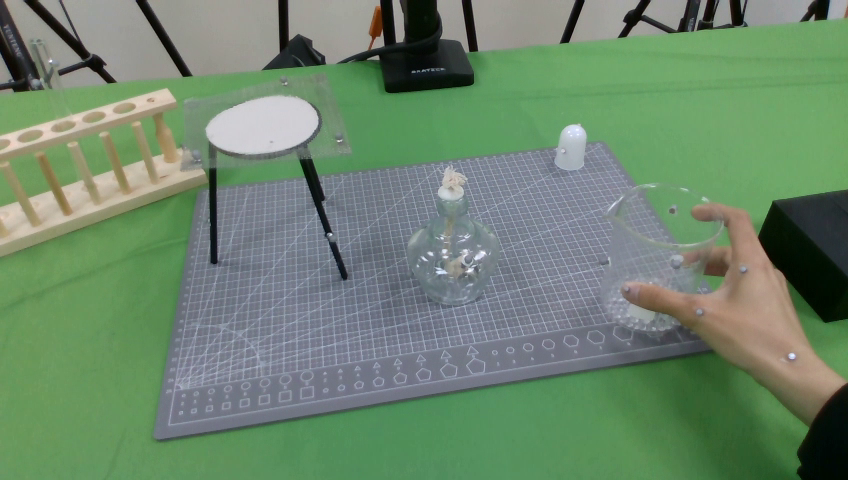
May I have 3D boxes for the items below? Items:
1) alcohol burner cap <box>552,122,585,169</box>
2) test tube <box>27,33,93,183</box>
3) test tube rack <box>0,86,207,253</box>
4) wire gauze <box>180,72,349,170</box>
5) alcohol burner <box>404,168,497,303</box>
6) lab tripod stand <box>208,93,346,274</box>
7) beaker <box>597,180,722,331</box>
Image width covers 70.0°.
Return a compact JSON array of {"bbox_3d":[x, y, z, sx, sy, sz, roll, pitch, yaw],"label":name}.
[{"bbox_3d":[0.155,-0.104,0.648,0.034,0.048,0.033,-1,42,1],"label":"alcohol burner cap"},{"bbox_3d":[-0.348,-0.121,0.583,0.017,0.151,0.017,1,36,0],"label":"test tube"},{"bbox_3d":[-0.353,-0.067,0.598,0.243,0.086,0.066,-25,47,-23],"label":"test tube rack"},{"bbox_3d":[-0.131,-0.096,0.481,0.125,0.011,0.120,-12,43,-10],"label":"wire gauze"},{"bbox_3d":[0.022,-0.006,0.492,0.078,0.120,0.077,-2,40,2],"label":"alcohol burner"},{"bbox_3d":[-0.128,-0.047,0.527,0.148,0.133,0.147,-1,44,2],"label":"lab tripod stand"},{"bbox_3d":[0.175,0.015,0.472,0.084,0.101,0.073,6,42,10],"label":"beaker"}]
